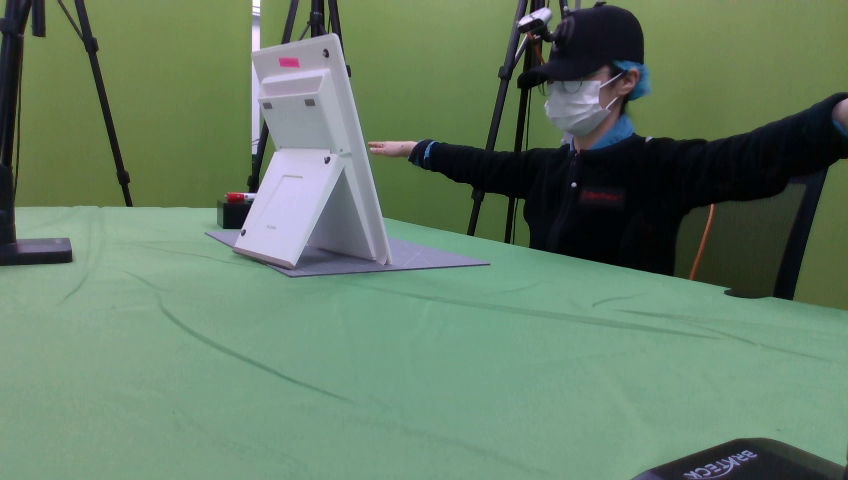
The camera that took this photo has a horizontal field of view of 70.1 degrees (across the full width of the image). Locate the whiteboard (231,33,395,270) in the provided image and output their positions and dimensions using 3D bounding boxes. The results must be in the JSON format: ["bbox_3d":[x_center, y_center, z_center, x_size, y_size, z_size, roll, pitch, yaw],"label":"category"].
[{"bbox_3d":[-0.193,-0.094,0.805,0.144,0.305,0.216,-28,25,-35],"label":"whiteboard"}]

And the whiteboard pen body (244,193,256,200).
[{"bbox_3d":[-0.327,-0.089,1.246,0.141,0.017,0.017,-1,8,-29],"label":"whiteboard pen body"}]

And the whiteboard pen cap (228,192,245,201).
[{"bbox_3d":[-0.377,-0.088,1.217,0.032,0.017,0.017,0,7,-29],"label":"whiteboard pen cap"}]
